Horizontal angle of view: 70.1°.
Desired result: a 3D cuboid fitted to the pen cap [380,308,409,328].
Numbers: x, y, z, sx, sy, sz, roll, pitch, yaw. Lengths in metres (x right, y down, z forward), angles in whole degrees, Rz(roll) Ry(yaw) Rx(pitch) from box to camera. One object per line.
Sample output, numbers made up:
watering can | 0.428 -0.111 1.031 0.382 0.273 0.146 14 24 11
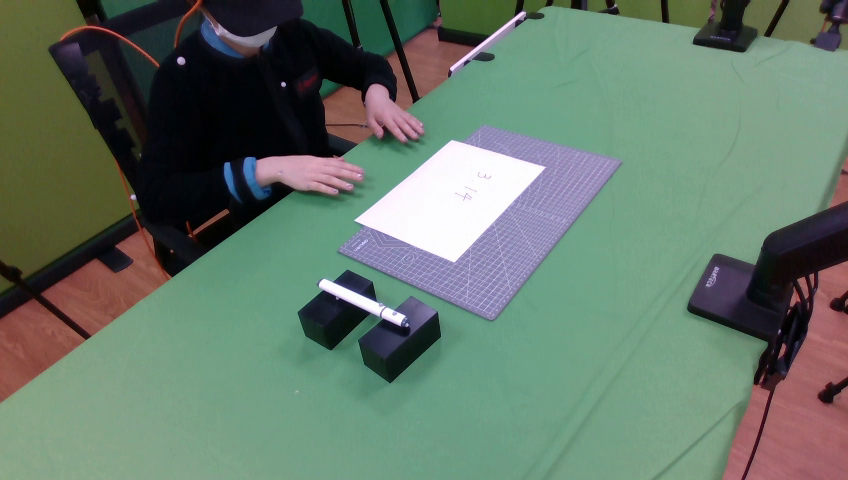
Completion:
pen cap | -0.037 0.102 0.782 0.038 0.017 0.017 19 47 29

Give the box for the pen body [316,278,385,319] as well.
pen body | -0.088 0.083 0.812 0.143 0.017 0.017 21 48 29
